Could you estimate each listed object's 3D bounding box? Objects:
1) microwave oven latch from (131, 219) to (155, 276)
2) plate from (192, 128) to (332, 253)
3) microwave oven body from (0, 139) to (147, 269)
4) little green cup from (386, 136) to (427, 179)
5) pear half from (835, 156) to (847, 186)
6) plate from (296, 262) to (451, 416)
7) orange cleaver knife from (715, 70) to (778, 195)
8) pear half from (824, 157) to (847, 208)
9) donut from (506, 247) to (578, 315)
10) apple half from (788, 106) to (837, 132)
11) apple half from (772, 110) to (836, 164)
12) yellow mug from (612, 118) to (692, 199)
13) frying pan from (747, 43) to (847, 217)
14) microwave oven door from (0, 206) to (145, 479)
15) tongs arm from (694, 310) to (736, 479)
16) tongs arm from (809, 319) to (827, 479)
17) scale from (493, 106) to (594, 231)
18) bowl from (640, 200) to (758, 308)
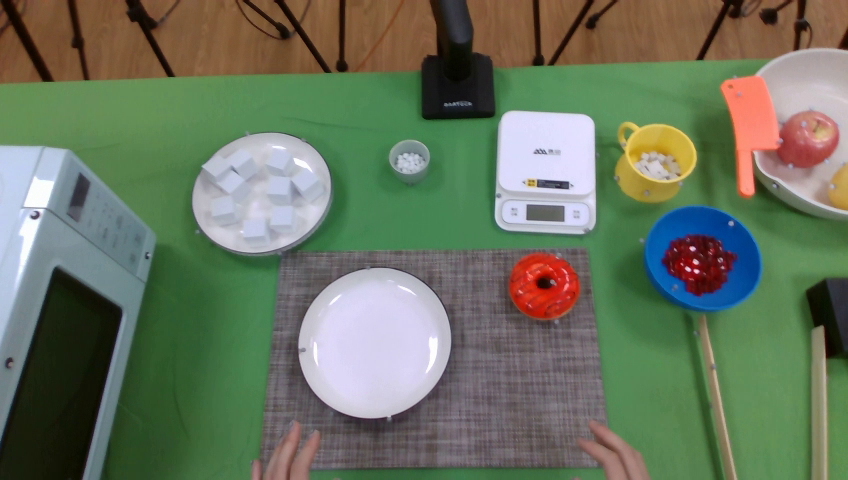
[{"bbox_3d":[-0.408,0.010,0.864,0.030,0.030,0.078,3,68,3],"label":"microwave oven latch"},{"bbox_3d":[-0.240,-0.072,0.915,0.207,0.039,0.206,0,67,1],"label":"plate"},{"bbox_3d":[-0.567,0.130,0.714,0.326,0.262,0.438,2,68,2],"label":"microwave oven body"},{"bbox_3d":[-0.026,-0.124,0.931,0.061,0.039,0.061,-1,67,2],"label":"little green cup"},{"bbox_3d":[0.637,-0.104,0.869,0.070,0.088,0.031,31,73,18],"label":"pear half"},{"bbox_3d":[-0.067,0.133,0.819,0.209,0.038,0.207,-1,67,2],"label":"plate"},{"bbox_3d":[0.470,-0.160,0.876,0.077,0.012,0.210,3,68,6],"label":"orange cleaver knife"},{"bbox_3d":[0.614,-0.082,0.850,0.076,0.111,0.056,32,72,19],"label":"pear half"},{"bbox_3d":[0.163,0.057,0.841,0.099,0.048,0.098,-1,67,3],"label":"donut"},{"bbox_3d":[0.579,-0.173,0.908,0.081,0.082,0.033,38,76,16],"label":"apple half"},{"bbox_3d":[0.554,-0.145,0.898,0.080,0.075,0.053,39,77,13],"label":"apple half"},{"bbox_3d":[0.330,-0.132,0.908,0.100,0.064,0.130,-31,69,-10],"label":"yellow mug"},{"bbox_3d":[0.653,-0.082,0.857,0.307,0.103,0.483,-26,61,-8],"label":"frying pan"},{"bbox_3d":[-0.424,0.171,0.687,0.039,0.245,0.353,1,67,3],"label":"microwave oven door"},{"bbox_3d":[0.394,0.275,0.753,0.051,0.027,0.382,0,68,-2],"label":"tongs arm"},{"bbox_3d":[0.480,0.281,0.751,0.028,0.028,0.385,15,69,0],"label":"tongs arm"},{"bbox_3d":[0.182,-0.112,0.923,0.148,0.032,0.199,3,68,4],"label":"scale"},{"bbox_3d":[0.365,0.030,0.833,0.151,0.077,0.150,-1,68,2],"label":"bowl"}]
